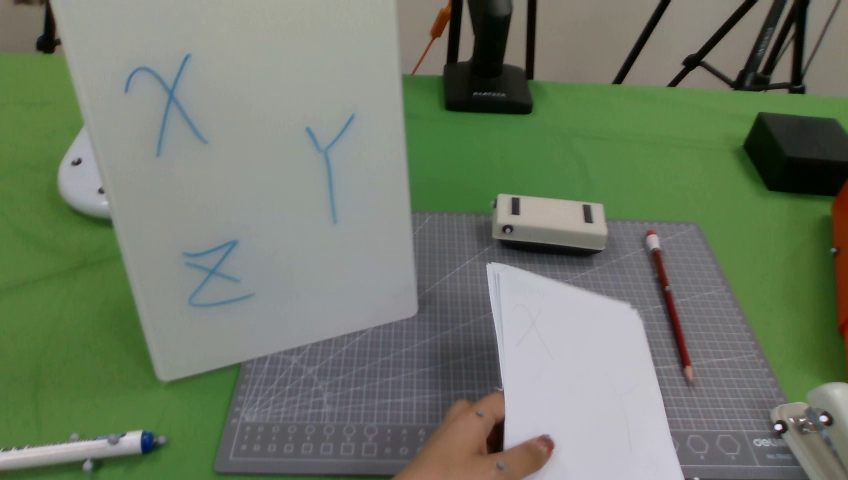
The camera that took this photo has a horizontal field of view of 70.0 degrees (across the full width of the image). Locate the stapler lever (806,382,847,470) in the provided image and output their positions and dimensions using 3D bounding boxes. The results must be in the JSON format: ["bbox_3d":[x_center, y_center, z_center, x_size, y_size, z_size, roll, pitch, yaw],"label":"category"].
[{"bbox_3d":[0.313,0.154,0.424,0.027,0.040,0.116,-5,46,-11],"label":"stapler lever"}]

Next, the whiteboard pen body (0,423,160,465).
[{"bbox_3d":[-0.260,0.144,0.422,0.141,0.017,0.017,-5,43,-10],"label":"whiteboard pen body"}]

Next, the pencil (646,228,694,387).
[{"bbox_3d":[0.232,0.056,0.573,0.012,0.012,0.192,6,44,1],"label":"pencil"}]

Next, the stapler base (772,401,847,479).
[{"bbox_3d":[0.310,0.172,0.442,0.041,0.024,0.129,-5,46,-11],"label":"stapler base"}]

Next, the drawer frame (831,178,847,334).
[{"bbox_3d":[0.515,0.029,0.579,0.201,0.083,0.212,19,43,15],"label":"drawer frame"}]

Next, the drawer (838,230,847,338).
[{"bbox_3d":[0.488,0.071,0.532,0.193,0.074,0.211,18,43,15],"label":"drawer"}]

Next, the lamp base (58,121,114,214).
[{"bbox_3d":[-0.311,-0.143,0.611,0.177,0.182,0.160,31,48,29],"label":"lamp base"}]

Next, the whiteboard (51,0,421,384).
[{"bbox_3d":[-0.136,-0.073,0.501,0.218,0.307,0.142,-12,25,-17],"label":"whiteboard"}]

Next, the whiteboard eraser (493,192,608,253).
[{"bbox_3d":[0.127,-0.017,0.617,0.112,0.042,0.055,7,43,2],"label":"whiteboard eraser"}]
